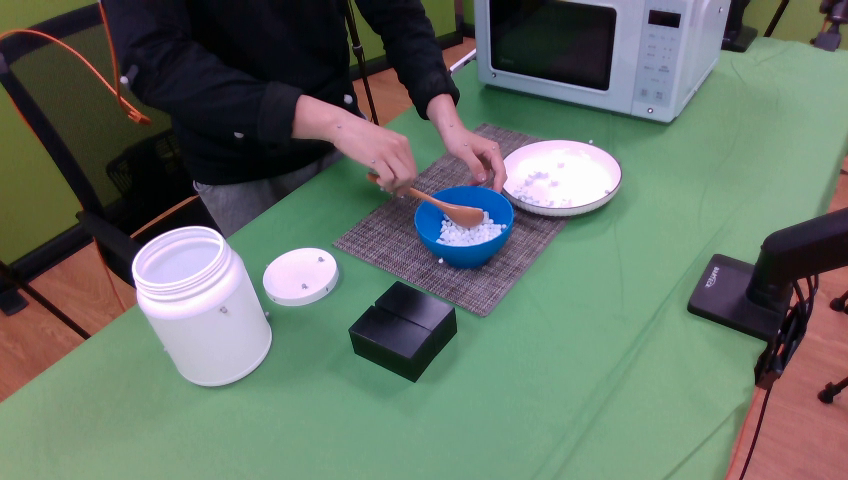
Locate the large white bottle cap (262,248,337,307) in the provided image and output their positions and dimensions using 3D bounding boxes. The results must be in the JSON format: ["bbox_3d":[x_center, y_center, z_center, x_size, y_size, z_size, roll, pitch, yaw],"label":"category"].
[{"bbox_3d":[-0.192,0.056,0.934,0.115,0.018,0.114,-4,41,4],"label":"large white bottle cap"}]

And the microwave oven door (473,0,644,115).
[{"bbox_3d":[0.257,-0.396,1.199,0.353,0.245,0.039,21,48,29],"label":"microwave oven door"}]

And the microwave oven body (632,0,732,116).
[{"bbox_3d":[0.377,-0.463,1.267,0.438,0.261,0.327,21,49,30],"label":"microwave oven body"}]

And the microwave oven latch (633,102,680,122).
[{"bbox_3d":[0.443,-0.249,1.157,0.078,0.029,0.030,21,49,30],"label":"microwave oven latch"}]

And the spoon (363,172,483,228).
[{"bbox_3d":[0.001,-0.059,0.880,0.195,0.041,0.021,22,40,-16],"label":"spoon"}]

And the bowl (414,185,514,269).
[{"bbox_3d":[0.063,-0.009,0.922,0.151,0.077,0.150,-4,39,4],"label":"bowl"}]

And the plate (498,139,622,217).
[{"bbox_3d":[0.231,-0.103,1.038,0.209,0.038,0.208,-4,41,4],"label":"plate"}]

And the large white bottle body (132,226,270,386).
[{"bbox_3d":[-0.286,0.085,0.783,0.130,0.185,0.130,-4,41,4],"label":"large white bottle body"}]
